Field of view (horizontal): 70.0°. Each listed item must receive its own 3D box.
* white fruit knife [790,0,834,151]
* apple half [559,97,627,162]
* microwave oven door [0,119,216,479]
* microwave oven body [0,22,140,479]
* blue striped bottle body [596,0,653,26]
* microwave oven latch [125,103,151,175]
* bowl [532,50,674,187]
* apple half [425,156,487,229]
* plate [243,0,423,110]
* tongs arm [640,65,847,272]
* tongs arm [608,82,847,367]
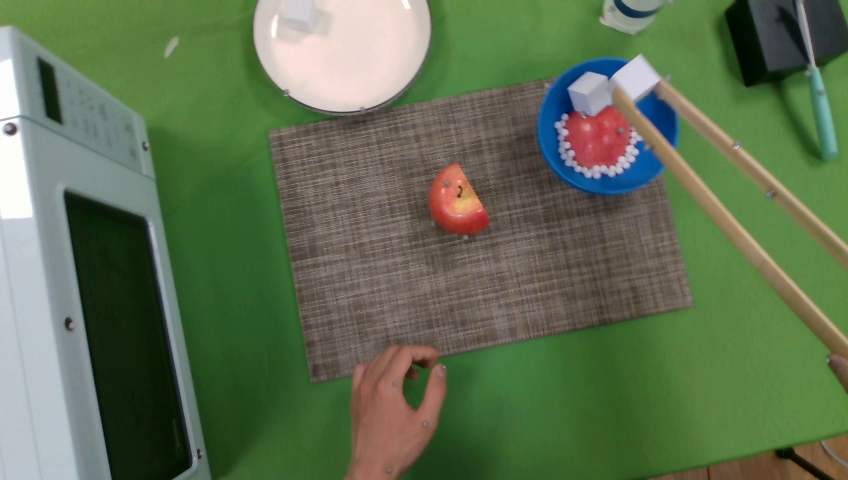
[{"bbox_3d":[0.437,-0.199,0.689,0.016,0.027,0.208,-18,102,16],"label":"white fruit knife"},{"bbox_3d":[0.193,-0.127,0.678,0.081,0.033,0.081,0,85,3],"label":"apple half"},{"bbox_3d":[-0.286,0.091,0.565,0.039,0.244,0.355,-14,85,-1],"label":"microwave oven door"},{"bbox_3d":[-0.438,0.084,0.570,0.326,0.260,0.440,-13,86,-2],"label":"microwave oven body"},{"bbox_3d":[0.239,-0.296,0.679,0.063,0.121,0.063,0,84,0],"label":"blue striped bottle body"},{"bbox_3d":[-0.333,-0.112,0.684,0.030,0.029,0.079,-13,86,-2],"label":"microwave oven latch"},{"bbox_3d":[0.191,-0.126,0.682,0.151,0.077,0.151,0,85,0],"label":"bowl"},{"bbox_3d":[0.029,-0.046,0.678,0.053,0.074,0.081,-32,89,2],"label":"apple half"},{"bbox_3d":[-0.105,-0.251,0.716,0.208,0.039,0.207,0,85,-1],"label":"plate"},{"bbox_3d":[0.297,-0.017,0.511,0.051,0.027,0.381,-33,63,-6],"label":"tongs arm"},{"bbox_3d":[0.276,-0.005,0.510,0.028,0.028,0.383,-28,62,-7],"label":"tongs arm"}]
